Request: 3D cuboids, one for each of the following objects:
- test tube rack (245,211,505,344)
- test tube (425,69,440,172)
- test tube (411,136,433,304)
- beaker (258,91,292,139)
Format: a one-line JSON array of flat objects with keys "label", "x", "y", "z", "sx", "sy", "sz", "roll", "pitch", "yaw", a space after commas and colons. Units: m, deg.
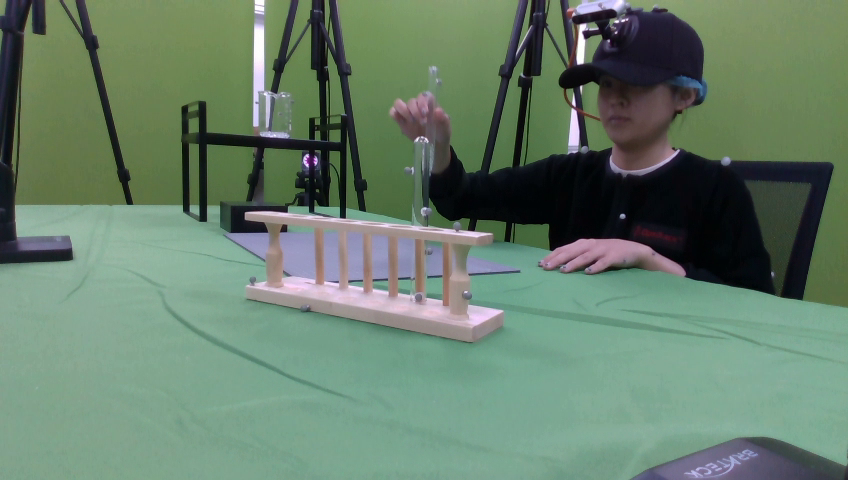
[{"label": "test tube rack", "x": -0.049, "y": 0.025, "z": 0.547, "sx": 0.241, "sy": 0.085, "sz": 0.067, "roll": 7, "pitch": 8, "yaw": 28}, {"label": "test tube", "x": 0.012, "y": -0.175, "z": 0.894, "sx": 0.017, "sy": 0.150, "sz": 0.017, "roll": 3, "pitch": 9, "yaw": 0}, {"label": "test tube", "x": -0.002, "y": -0.017, "z": 0.538, "sx": 0.017, "sy": 0.150, "sz": 0.017, "roll": 2, "pitch": 7, "yaw": 0}, {"label": "beaker", "x": -0.331, "y": -0.276, "z": 1.343, "sx": 0.074, "sy": 0.100, "sz": 0.083, "roll": 0, "pitch": 8, "yaw": -20}]
